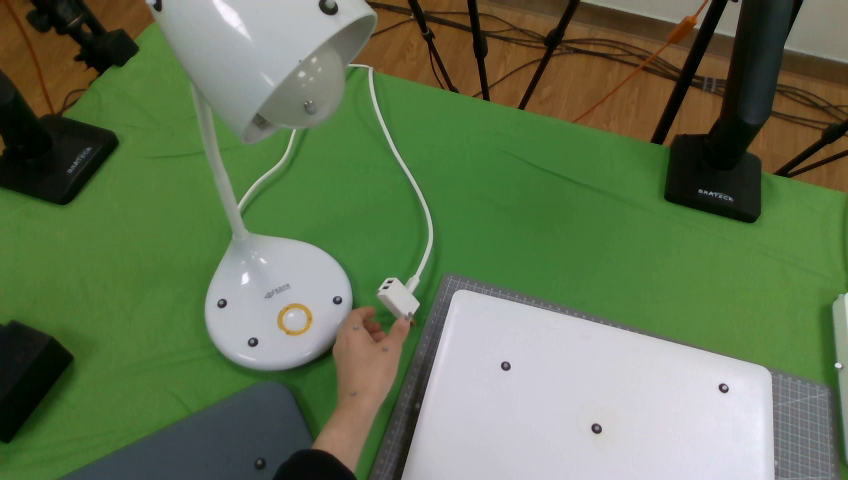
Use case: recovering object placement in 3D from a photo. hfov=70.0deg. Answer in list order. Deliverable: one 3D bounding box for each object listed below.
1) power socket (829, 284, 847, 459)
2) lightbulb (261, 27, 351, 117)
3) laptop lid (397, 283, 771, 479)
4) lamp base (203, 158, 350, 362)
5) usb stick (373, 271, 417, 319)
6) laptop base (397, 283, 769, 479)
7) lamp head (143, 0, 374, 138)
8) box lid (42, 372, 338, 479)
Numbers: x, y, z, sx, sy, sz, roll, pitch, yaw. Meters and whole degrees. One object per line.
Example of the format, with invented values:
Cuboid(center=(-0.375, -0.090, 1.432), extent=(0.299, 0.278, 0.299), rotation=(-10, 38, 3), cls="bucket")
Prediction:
Cuboid(center=(0.490, 0.145, 0.658), extent=(0.072, 0.033, 0.225), rotation=(16, 57, 6), cls="power socket")
Cuboid(center=(-0.080, -0.125, 0.352), extent=(0.059, 0.059, 0.108), rotation=(-21, 100, -15), cls="lightbulb")
Cuboid(center=(0.171, 0.183, 0.610), extent=(0.356, 0.013, 0.240), rotation=(15, 60, 7), cls="laptop lid")
Cuboid(center=(-0.170, 0.012, 0.619), extent=(0.160, 0.182, 0.178), rotation=(-38, 64, -24), cls="lamp base")
Cuboid(center=(-0.028, 0.063, 0.673), extent=(0.021, 0.059, 0.027), rotation=(-7, 37, 47), cls="usb stick")
Cuboid(center=(0.171, 0.187, 0.622), extent=(0.354, 0.023, 0.234), rotation=(14, 61, 6), cls="laptop base")
Cuboid(center=(-0.109, -0.137, 0.357), extent=(0.123, 0.112, 0.112), rotation=(44, 62, -4), cls="lamp head")
Cuboid(center=(-0.174, 0.316, 0.524), extent=(0.263, 0.015, 0.368), rotation=(-25, 63, -17), cls="box lid")
